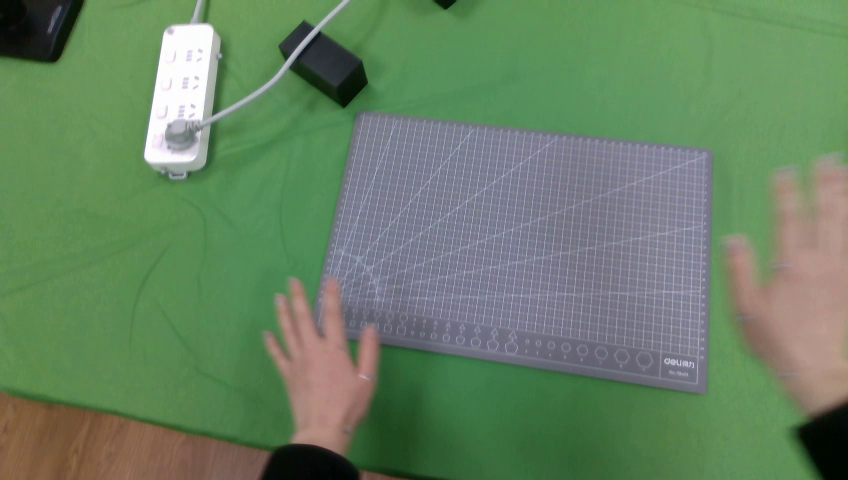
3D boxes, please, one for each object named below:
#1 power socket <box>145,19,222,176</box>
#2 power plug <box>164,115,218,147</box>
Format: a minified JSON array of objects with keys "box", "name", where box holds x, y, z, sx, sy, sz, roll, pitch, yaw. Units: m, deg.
[{"box":[-0.314,-0.193,0.796,0.072,0.033,0.225,0,72,2],"name":"power socket"},{"box":[-0.287,-0.130,0.752,0.072,0.053,0.035,9,73,6],"name":"power plug"}]
